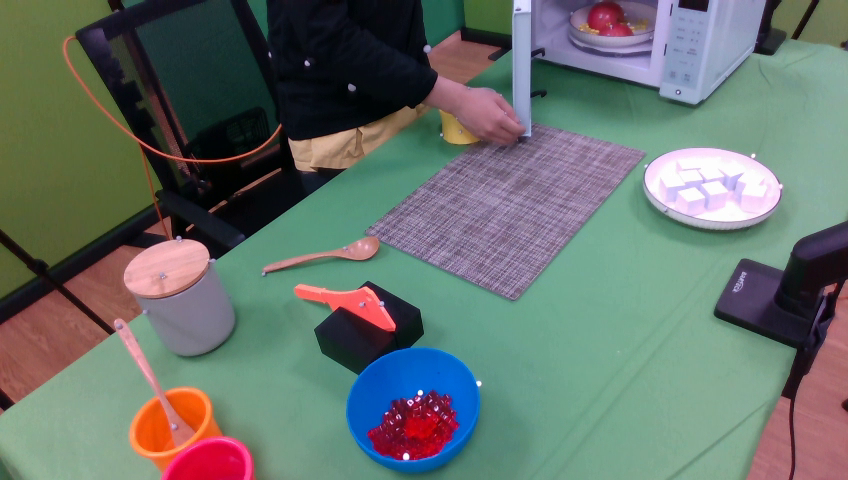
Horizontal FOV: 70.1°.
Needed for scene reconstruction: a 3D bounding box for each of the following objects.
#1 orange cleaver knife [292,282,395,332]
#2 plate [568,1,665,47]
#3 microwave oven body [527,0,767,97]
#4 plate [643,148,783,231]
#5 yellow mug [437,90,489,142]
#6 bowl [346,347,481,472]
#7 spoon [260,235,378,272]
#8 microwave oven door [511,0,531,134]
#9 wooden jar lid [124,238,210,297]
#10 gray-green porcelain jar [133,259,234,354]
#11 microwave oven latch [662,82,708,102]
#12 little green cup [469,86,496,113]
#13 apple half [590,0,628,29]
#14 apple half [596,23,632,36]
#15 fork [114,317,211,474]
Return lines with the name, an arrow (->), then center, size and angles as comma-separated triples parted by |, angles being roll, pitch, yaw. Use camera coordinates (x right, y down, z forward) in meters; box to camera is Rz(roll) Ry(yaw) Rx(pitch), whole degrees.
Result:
orange cleaver knife -> -0.116, 0.091, 0.835 | 0.209, 0.077, 0.012 | 2, 32, 48
plate -> 0.431, -0.486, 1.366 | 0.209, 0.038, 0.208 | -4, 41, 4
microwave oven body -> 0.473, -0.516, 1.314 | 0.438, 0.261, 0.327 | 26, 51, 34
plate -> 0.464, -0.080, 0.986 | 0.207, 0.039, 0.206 | -4, 41, 4
yellow mug -> 0.069, -0.257, 1.225 | 0.100, 0.064, 0.129 | -32, 44, -27
bowl -> -0.008, 0.205, 0.691 | 0.151, 0.077, 0.150 | -4, 40, 4
spoon -> -0.167, 0.024, 0.966 | 0.194, 0.022, 0.041 | -10, 59, -3
microwave oven door -> 0.197, -0.410, 1.223 | 0.039, 0.245, 0.354 | 0, 41, 9
wooden jar lid -> -0.335, 0.039, 0.794 | 0.108, 0.021, 0.108 | -2, 40, 2
gray-green porcelain jar -> -0.328, 0.087, 0.836 | 0.106, 0.127, 0.105 | -4, 41, 4
microwave oven latch -> 0.517, -0.298, 1.202 | 0.078, 0.029, 0.030 | 26, 52, 34
little green cup -> 0.123, -0.298, 1.285 | 0.061, 0.039, 0.061 | -3, 40, 3
apple half -> 0.418, -0.523, 1.378 | 0.081, 0.054, 0.074 | -42, 39, -15
apple half -> 0.417, -0.460, 1.328 | 0.081, 0.033, 0.081 | -2, 38, 2
fork -> -0.309, 0.179, 0.708 | 0.028, 0.018, 0.207 | -29, 89, -25
